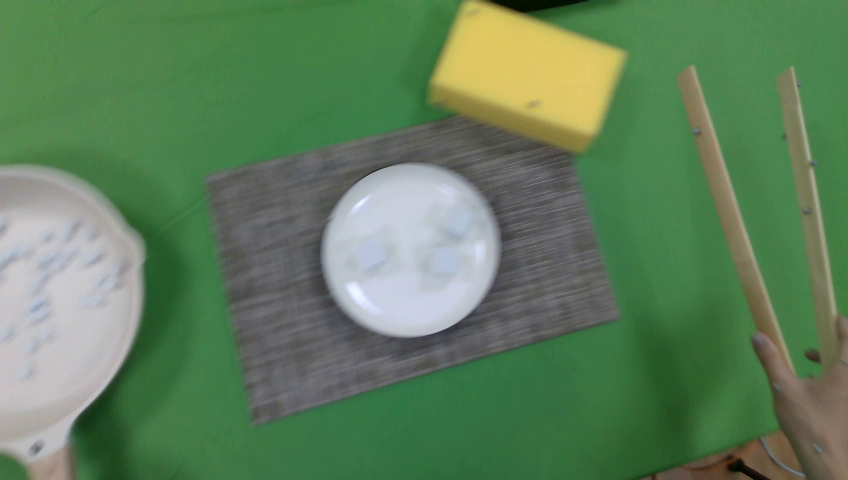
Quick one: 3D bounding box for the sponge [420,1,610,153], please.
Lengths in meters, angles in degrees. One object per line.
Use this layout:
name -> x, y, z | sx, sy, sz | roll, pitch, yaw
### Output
sponge -> 0.111, -0.202, 0.756 | 0.207, 0.061, 0.118 | 18, 77, 1

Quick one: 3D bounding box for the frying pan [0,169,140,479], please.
frying pan -> -0.412, 0.161, 0.637 | 0.307, 0.103, 0.484 | -23, 74, -7

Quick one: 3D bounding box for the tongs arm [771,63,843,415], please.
tongs arm -> 0.402, -0.010, 0.655 | 0.051, 0.026, 0.383 | -1, 79, -18

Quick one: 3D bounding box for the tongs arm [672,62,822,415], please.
tongs arm -> 0.330, -0.004, 0.633 | 0.028, 0.028, 0.386 | -13, 82, -23

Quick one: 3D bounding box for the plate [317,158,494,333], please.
plate -> -0.022, 0.007, 0.721 | 0.208, 0.039, 0.207 | 1, 80, -4
